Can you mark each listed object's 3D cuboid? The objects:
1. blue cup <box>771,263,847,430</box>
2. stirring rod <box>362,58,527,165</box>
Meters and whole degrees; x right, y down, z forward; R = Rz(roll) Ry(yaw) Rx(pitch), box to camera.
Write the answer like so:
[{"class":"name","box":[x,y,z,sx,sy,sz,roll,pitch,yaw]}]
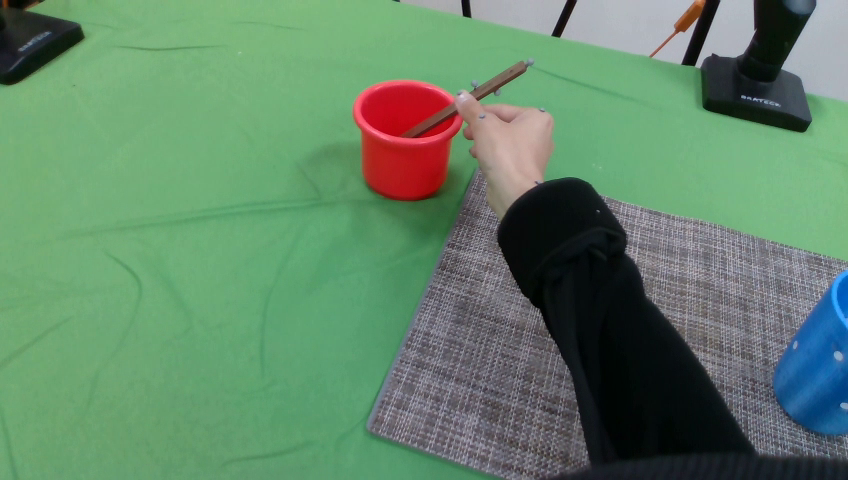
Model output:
[{"class":"blue cup","box":[0.290,0.079,0.409,0.093,0.101,0.091,4,47,-4]},{"class":"stirring rod","box":[0.013,-0.112,0.542,0.176,0.006,0.014,-27,46,24]}]
